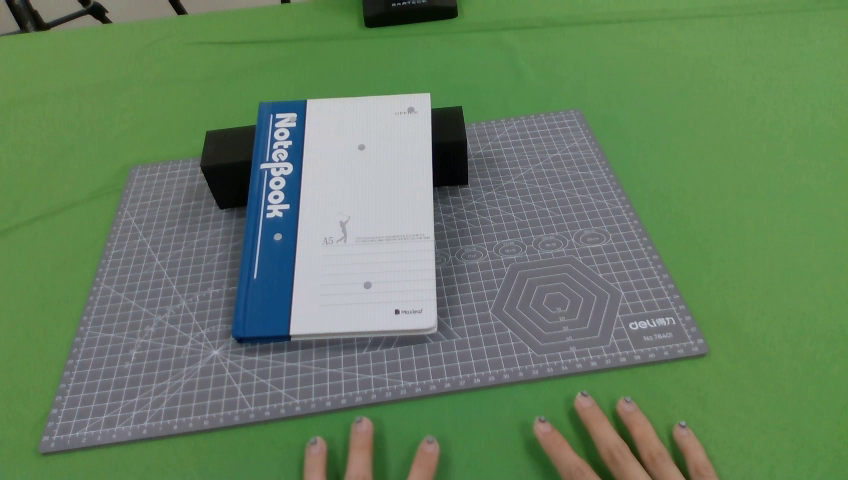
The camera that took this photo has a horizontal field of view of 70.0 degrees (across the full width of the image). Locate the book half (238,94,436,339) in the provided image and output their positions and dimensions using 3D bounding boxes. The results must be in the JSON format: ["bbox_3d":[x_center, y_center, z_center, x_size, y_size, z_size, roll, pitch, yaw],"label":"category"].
[{"bbox_3d":[-0.064,-0.026,0.473,0.143,0.007,0.208,-3,64,3],"label":"book half"}]
